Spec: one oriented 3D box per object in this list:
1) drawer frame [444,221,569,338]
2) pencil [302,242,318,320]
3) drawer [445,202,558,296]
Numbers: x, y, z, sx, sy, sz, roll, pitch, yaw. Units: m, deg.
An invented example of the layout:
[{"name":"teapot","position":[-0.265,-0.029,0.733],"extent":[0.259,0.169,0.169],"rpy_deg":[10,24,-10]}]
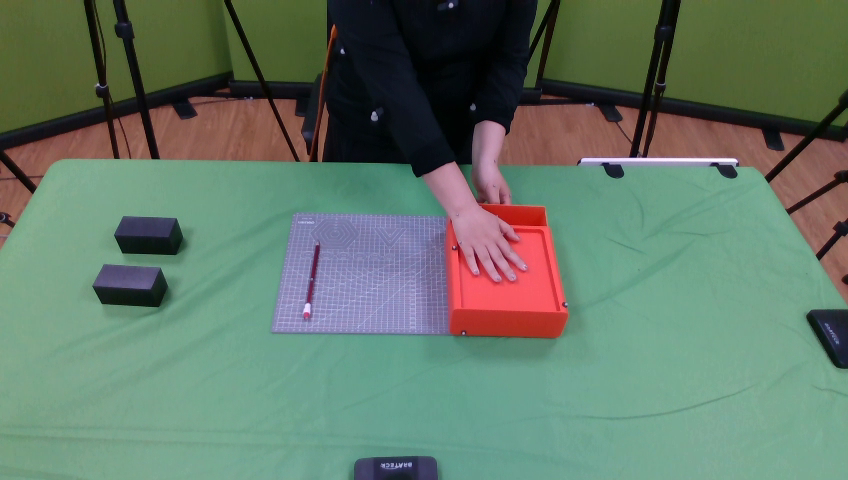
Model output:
[{"name":"drawer frame","position":[0.141,0.068,1.099],"extent":[0.202,0.083,0.212],"rpy_deg":[2,46,-4]},{"name":"pencil","position":[-0.209,0.070,1.119],"extent":[0.012,0.012,0.193],"rpy_deg":[2,44,-3]},{"name":"drawer","position":[0.141,0.026,1.136],"extent":[0.195,0.073,0.210],"rpy_deg":[3,47,-4]}]
